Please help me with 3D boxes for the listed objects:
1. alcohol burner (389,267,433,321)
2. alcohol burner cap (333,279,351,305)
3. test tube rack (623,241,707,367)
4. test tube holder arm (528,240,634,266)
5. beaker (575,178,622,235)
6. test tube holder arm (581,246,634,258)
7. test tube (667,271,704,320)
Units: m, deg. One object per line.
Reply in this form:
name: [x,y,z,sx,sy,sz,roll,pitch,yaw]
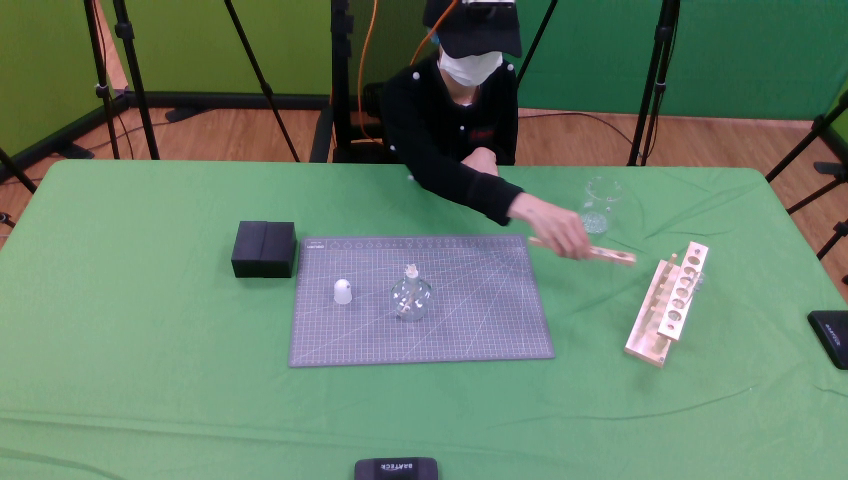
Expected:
alcohol burner: [-0.022,0.086,1.046,0.078,0.119,0.077,2,48,-2]
alcohol burner cap: [-0.147,0.090,1.083,0.034,0.048,0.033,3,46,-2]
test tube rack: [0.435,0.104,1.089,0.066,0.085,0.242,24,49,19]
test tube holder arm: [0.269,0.021,1.043,0.178,0.015,0.013,9,42,10]
beaker: [0.356,-0.068,1.239,0.084,0.101,0.073,-18,50,-21]
test tube holder arm: [0.314,0.025,1.038,0.088,0.015,0.010,10,42,11]
test tube: [0.432,0.104,1.019,0.017,0.151,0.017,3,48,-3]
